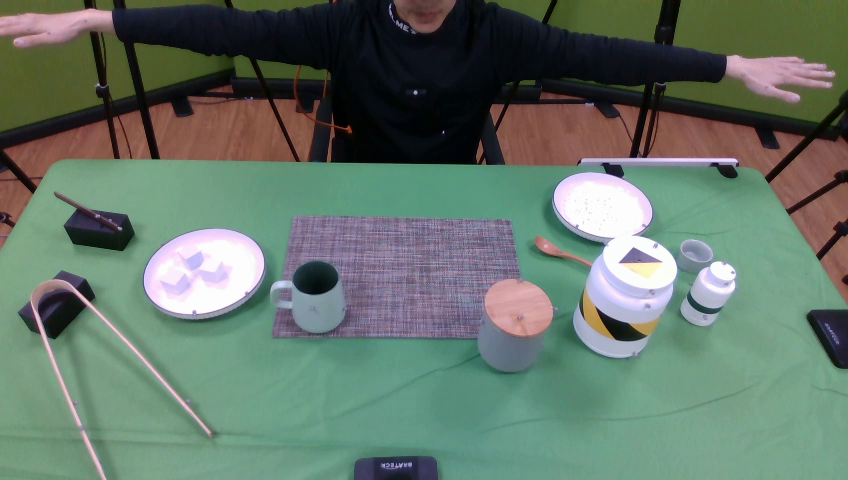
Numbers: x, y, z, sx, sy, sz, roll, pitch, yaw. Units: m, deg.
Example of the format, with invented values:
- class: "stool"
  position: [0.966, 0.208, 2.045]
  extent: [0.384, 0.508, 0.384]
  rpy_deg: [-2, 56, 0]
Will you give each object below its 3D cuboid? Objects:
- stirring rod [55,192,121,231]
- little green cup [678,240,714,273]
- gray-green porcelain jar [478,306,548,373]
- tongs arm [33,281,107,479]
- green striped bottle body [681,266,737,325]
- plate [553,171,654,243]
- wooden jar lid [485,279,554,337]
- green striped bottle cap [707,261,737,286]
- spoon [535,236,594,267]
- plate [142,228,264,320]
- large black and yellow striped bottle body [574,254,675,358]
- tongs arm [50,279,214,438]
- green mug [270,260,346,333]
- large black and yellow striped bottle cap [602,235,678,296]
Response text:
- class: "stirring rod"
  position: [-0.632, -0.055, 1.138]
  extent: [0.175, 0.014, 0.006]
  rpy_deg: [24, 50, 19]
- class: "little green cup"
  position: [0.530, 0.033, 1.190]
  extent: [0.061, 0.039, 0.061]
  rpy_deg: [2, 46, -1]
- class: "gray-green porcelain jar"
  position: [0.144, 0.148, 0.989]
  extent: [0.106, 0.127, 0.105]
  rpy_deg: [2, 50, -2]
- class: "tongs arm"
  position: [-0.517, 0.214, 0.910]
  extent: [0.051, 0.026, 0.383]
  rpy_deg: [-29, 63, -27]
- class: "green striped bottle body"
  position: [0.507, 0.093, 1.074]
  extent: [0.063, 0.120, 0.063]
  rpy_deg: [2, 46, -2]
- class: "plate"
  position: [0.373, -0.066, 1.275]
  extent: [0.209, 0.038, 0.208]
  rpy_deg: [2, 46, -2]
- class: "wooden jar lid"
  position: [0.147, 0.108, 0.940]
  extent: [0.108, 0.021, 0.107]
  rpy_deg: [4, 47, -4]
- class: "green striped bottle cap"
  position: [0.510, 0.057, 1.036]
  extent: [0.044, 0.020, 0.044]
  rpy_deg: [1, 45, -1]
- class: "spoon"
  position: [0.303, 0.040, 1.178]
  extent: [0.193, 0.022, 0.041]
  rpy_deg: [25, 31, 19]
- class: "plate"
  position: [-0.395, 0.064, 1.095]
  extent: [0.208, 0.039, 0.206]
  rpy_deg: [2, 46, -2]
- class: "large black and yellow striped bottle body"
  position: [0.335, 0.096, 1.014]
  extent: [0.131, 0.185, 0.130]
  rpy_deg: [2, 46, -2]
- class: "tongs arm"
  position: [-0.459, 0.178, 0.949]
  extent: [0.386, 0.028, 0.028]
  rpy_deg: [37, 60, 17]
- class: "green mug"
  position: [-0.198, 0.097, 1.026]
  extent: [0.125, 0.105, 0.092]
  rpy_deg: [0, 46, -3]
- class: "large black and yellow striped bottle cap"
  position: [0.340, 0.037, 0.955]
  extent: [0.115, 0.019, 0.114]
  rpy_deg: [2, 47, -1]
